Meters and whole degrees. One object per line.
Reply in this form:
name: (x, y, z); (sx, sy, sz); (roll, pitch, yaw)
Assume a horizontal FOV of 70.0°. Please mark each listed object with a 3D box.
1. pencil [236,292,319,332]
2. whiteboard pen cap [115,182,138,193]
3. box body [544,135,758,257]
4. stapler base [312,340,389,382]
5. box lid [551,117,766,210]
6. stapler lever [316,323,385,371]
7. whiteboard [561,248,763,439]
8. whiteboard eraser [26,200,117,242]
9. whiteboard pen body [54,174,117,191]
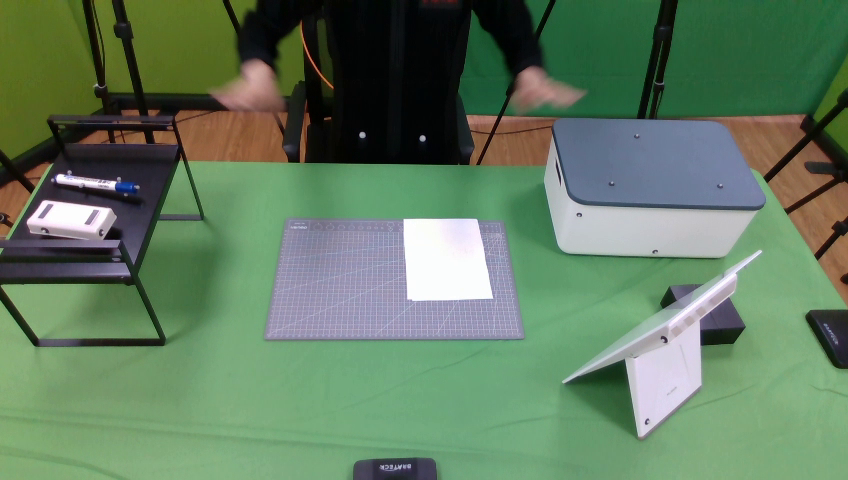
pencil: (-0.244, 0.131, 1.055); (0.193, 0.012, 0.012); (22, 49, 12)
whiteboard pen cap: (-0.483, -0.086, 0.984); (0.033, 0.018, 0.018); (7, 46, 10)
box body: (0.441, -0.103, 1.233); (0.364, 0.161, 0.252); (1, 46, -3)
stapler base: (-0.123, 0.189, 0.997); (0.130, 0.024, 0.041); (20, 49, 16)
box lid: (0.446, -0.154, 1.179); (0.372, 0.015, 0.261); (1, 47, -2)
stapler lever: (-0.120, 0.171, 0.979); (0.118, 0.040, 0.027); (21, 49, 15)
whiteboard: (0.386, 0.176, 0.905); (0.217, 0.306, 0.143); (-26, 72, -27)
whiteboard eraser: (-0.532, -0.026, 0.919); (0.113, 0.042, 0.055); (7, 45, 3)
whiteboard pen body: (-0.541, -0.093, 0.993); (0.140, 0.017, 0.017); (7, 46, 9)
